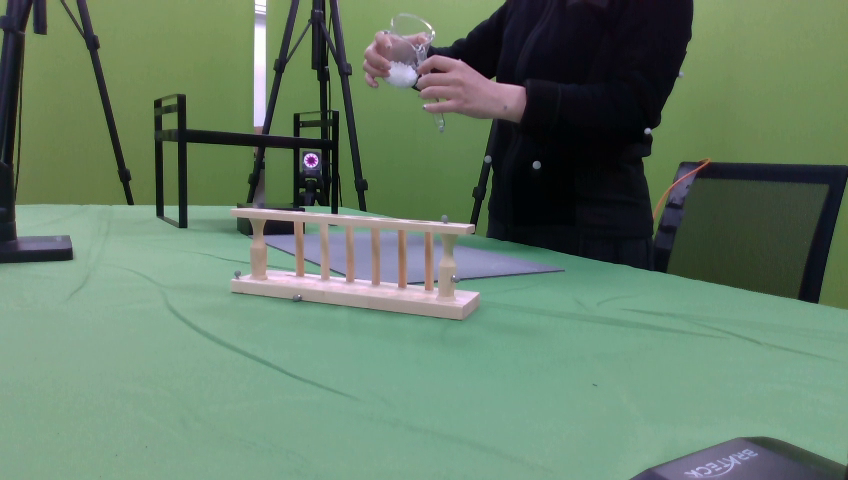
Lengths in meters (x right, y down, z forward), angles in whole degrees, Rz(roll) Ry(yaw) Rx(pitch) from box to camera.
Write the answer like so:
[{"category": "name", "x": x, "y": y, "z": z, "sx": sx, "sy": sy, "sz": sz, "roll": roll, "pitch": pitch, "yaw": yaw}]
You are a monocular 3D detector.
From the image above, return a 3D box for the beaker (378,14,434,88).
[{"category": "beaker", "x": -0.033, "y": -0.311, "z": 1.012, "sx": 0.074, "sy": 0.083, "sz": 0.100, "roll": 1, "pitch": -35, "yaw": -21}]

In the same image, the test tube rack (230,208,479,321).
[{"category": "test tube rack", "x": -0.069, "y": 0.017, "z": 0.598, "sx": 0.242, "sy": 0.085, "sz": 0.067, "roll": 5, "pitch": 8, "yaw": 18}]

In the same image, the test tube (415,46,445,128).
[{"category": "test tube", "x": 0.009, "y": -0.235, "z": 0.925, "sx": 0.017, "sy": 0.150, "sz": 0.017, "roll": -12, "pitch": -22, "yaw": -5}]
